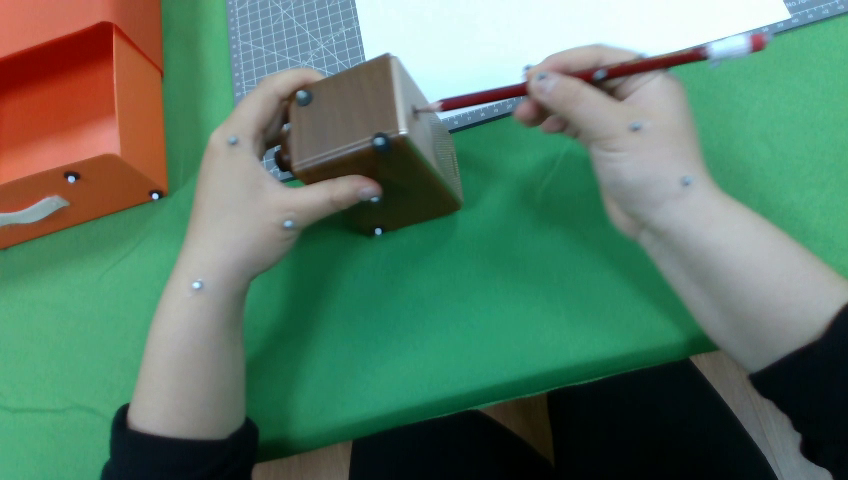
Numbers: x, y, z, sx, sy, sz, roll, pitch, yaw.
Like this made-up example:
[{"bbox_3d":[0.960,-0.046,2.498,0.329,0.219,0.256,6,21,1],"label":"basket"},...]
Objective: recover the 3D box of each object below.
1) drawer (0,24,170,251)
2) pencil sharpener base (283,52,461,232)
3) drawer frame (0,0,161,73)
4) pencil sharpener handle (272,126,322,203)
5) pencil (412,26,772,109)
[{"bbox_3d":[-0.317,-0.108,0.492,0.194,0.074,0.210,-17,67,8],"label":"drawer"},{"bbox_3d":[-0.030,-0.055,0.385,0.076,0.108,0.061,-17,66,18],"label":"pencil sharpener base"},{"bbox_3d":[-0.343,-0.214,0.535,0.201,0.083,0.211,-17,66,7],"label":"drawer frame"},{"bbox_3d":[-0.082,-0.044,0.389,0.030,0.068,0.035,-17,62,18],"label":"pencil sharpener handle"},{"bbox_3d":[0.087,-0.092,0.335,0.194,0.012,0.012,-9,68,10],"label":"pencil"}]
